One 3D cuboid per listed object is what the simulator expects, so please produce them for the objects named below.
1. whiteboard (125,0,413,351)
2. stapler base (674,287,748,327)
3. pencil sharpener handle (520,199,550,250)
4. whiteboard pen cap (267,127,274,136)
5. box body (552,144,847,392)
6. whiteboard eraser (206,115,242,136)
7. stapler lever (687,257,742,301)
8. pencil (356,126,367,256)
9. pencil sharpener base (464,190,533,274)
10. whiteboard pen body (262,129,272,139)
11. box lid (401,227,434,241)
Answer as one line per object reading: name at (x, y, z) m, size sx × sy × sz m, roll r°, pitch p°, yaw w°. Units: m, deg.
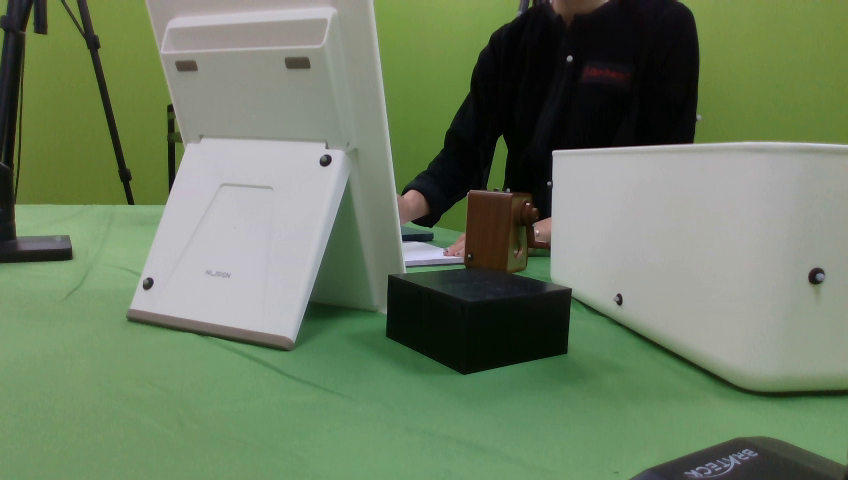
whiteboard at (-0.151, -0.050, 0.471) m, size 0.216 × 0.305 × 0.144 m, roll 6°, pitch 27°, yaw 24°
stapler base at (0.281, 0.061, 0.586) m, size 0.041 × 0.024 × 0.131 m, roll 10°, pitch 8°, yaw 37°
pencil sharpener handle at (0.147, -0.019, 0.785) m, size 0.030 × 0.068 × 0.036 m, roll 8°, pitch 25°, yaw 36°
whiteboard pen cap at (-0.340, -0.239, 1.337) m, size 0.018 × 0.018 × 0.033 m, roll 1°, pitch -1°, yaw -14°
box body at (0.290, 0.002, 0.549) m, size 0.255 × 0.160 × 0.363 m, roll 2°, pitch 7°, yaw -10°
whiteboard eraser at (-0.438, -0.249, 1.320) m, size 0.056 × 0.042 × 0.112 m, roll -3°, pitch 9°, yaw -30°
stapler lever at (0.283, 0.035, 0.585) m, size 0.026 × 0.040 × 0.119 m, roll 10°, pitch 8°, yaw 37°
pencil at (-0.089, -0.073, 0.874) m, size 0.012 × 0.193 × 0.012 m, roll -3°, pitch -10°, yaw 0°
pencil sharpener base at (0.102, -0.012, 0.813) m, size 0.076 × 0.107 × 0.061 m, roll 8°, pitch 9°, yaw 36°
whiteboard pen body at (-0.361, -0.245, 1.393) m, size 0.017 × 0.017 × 0.140 m, roll 0°, pitch 5°, yaw -20°
box lid at (-0.196, -0.015, 1.105) m, size 0.373 × 0.015 × 0.262 m, roll -1°, pitch 7°, yaw -32°
